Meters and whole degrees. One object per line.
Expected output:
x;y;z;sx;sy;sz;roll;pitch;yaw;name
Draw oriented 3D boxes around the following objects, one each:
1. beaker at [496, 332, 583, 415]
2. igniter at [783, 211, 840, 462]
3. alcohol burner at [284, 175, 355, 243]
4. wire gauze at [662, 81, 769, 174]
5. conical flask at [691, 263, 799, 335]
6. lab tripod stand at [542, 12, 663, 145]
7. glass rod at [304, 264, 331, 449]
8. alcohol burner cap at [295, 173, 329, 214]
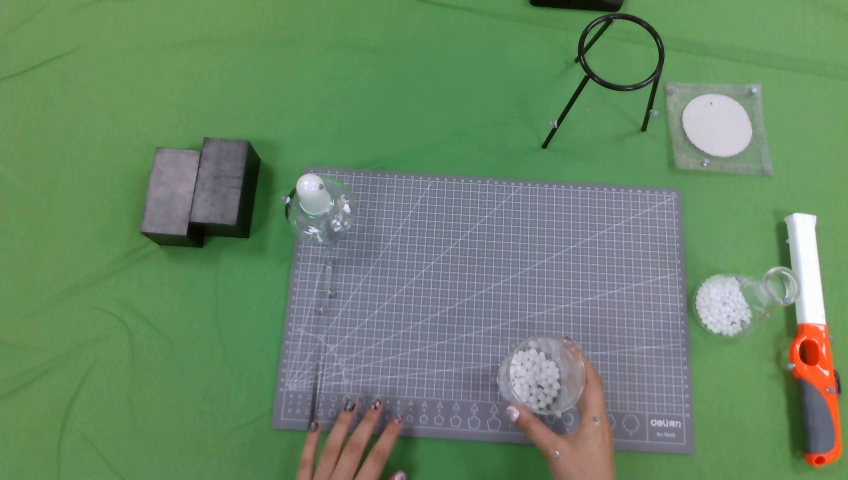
0.115;0.135;0.616;0.084;0.101;0.073;-38;78;-11;beaker
0.427;0.101;0.670;0.057;0.025;0.275;7;75;-11;igniter
-0.115;-0.039;0.651;0.078;0.119;0.077;0;75;1;alcohol burner
0.359;-0.141;0.745;0.125;0.011;0.121;2;75;-2;wire gauze
0.338;0.056;0.632;0.075;0.122;0.075;0;74;0;conical flask
0.200;-0.177;0.687;0.148;0.132;0.147;0;76;-1;lab tripod stand
-0.115;0.124;0.662;0.008;0.008;0.199;5;78;0;glass rod
-0.115;-0.051;0.617;0.034;0.048;0.033;1;67;-2;alcohol burner cap
